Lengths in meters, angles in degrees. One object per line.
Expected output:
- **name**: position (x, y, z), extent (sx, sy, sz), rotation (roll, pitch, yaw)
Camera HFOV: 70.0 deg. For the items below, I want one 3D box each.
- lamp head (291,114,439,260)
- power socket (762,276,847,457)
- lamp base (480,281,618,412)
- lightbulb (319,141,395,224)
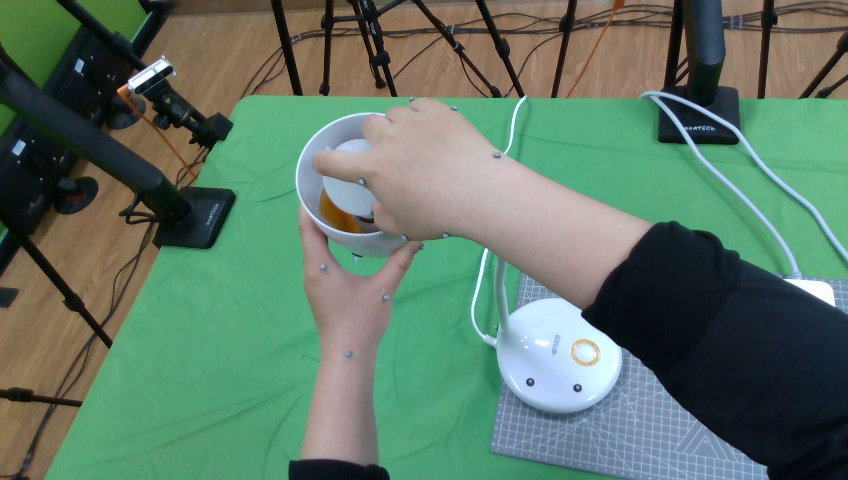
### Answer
- **lamp head**: position (-0.043, -0.031, 0.529), extent (0.112, 0.124, 0.111), rotation (-3, 66, 7)
- **power socket**: position (0.456, 0.143, 0.729), extent (0.072, 0.033, 0.225), rotation (4, 58, 15)
- **lamp base**: position (0.143, 0.106, 0.738), extent (0.178, 0.182, 0.159), rotation (-1, 57, 16)
- **lightbulb**: position (-0.051, -0.041, 0.500), extent (0.059, 0.108, 0.059), rotation (-1, 72, 4)
